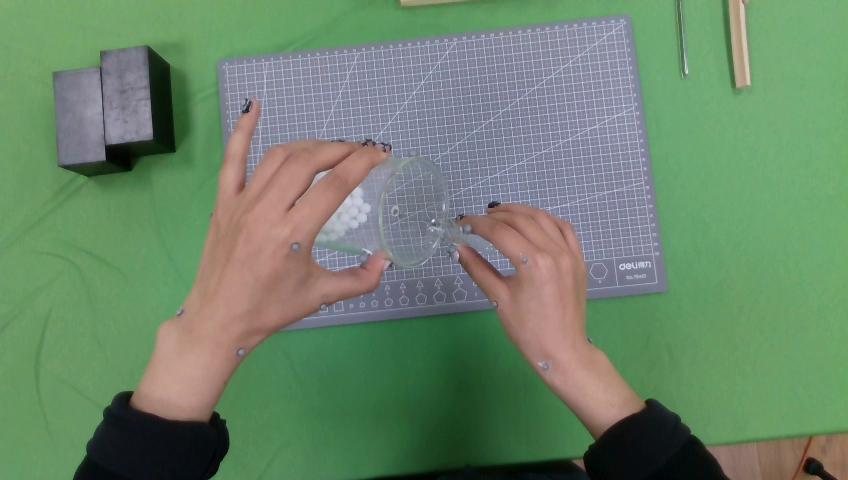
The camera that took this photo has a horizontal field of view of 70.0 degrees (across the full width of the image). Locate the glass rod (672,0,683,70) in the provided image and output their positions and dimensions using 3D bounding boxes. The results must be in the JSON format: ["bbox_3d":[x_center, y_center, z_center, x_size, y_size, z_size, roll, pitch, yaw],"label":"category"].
[{"bbox_3d":[0.269,-0.281,0.653,0.008,0.008,0.199,-2,85,1],"label":"glass rod"}]

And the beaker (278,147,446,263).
[{"bbox_3d":[-0.044,-0.028,0.426,0.099,0.085,0.074,10,81,35],"label":"beaker"}]

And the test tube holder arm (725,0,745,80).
[{"bbox_3d":[0.328,-0.258,0.642,0.013,0.015,0.178,2,85,-27],"label":"test tube holder arm"}]

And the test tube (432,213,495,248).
[{"bbox_3d":[0.037,-0.006,0.503,0.017,0.151,0.017,-2,85,19],"label":"test tube"}]
